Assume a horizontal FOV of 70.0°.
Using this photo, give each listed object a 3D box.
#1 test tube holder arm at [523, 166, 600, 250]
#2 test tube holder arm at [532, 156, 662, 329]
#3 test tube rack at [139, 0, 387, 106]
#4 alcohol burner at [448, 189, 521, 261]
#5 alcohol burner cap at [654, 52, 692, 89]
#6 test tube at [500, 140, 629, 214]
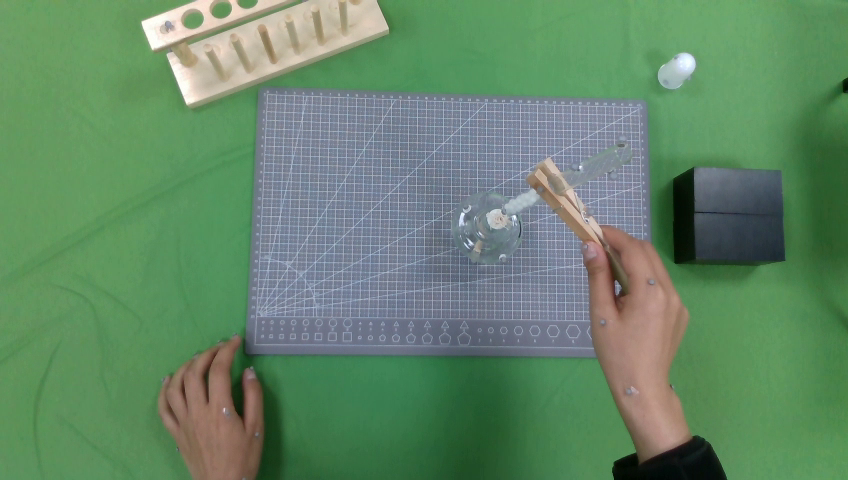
[{"bbox_3d":[0.113,-0.025,0.490,0.088,0.015,0.010,45,66,-14],"label":"test tube holder arm"},{"bbox_3d":[0.146,0.005,0.503,0.013,0.015,0.179,-45,103,-24],"label":"test tube holder arm"},{"bbox_3d":[-0.165,-0.233,0.657,0.242,0.085,0.066,-23,84,-6],"label":"test tube rack"},{"bbox_3d":[0.066,-0.018,0.628,0.078,0.119,0.077,1,83,-4],"label":"alcohol burner"},{"bbox_3d":[0.292,-0.199,0.704,0.034,0.048,0.033,0,82,-2],"label":"alcohol burner cap"},{"bbox_3d":[0.104,-0.046,0.480,0.017,0.150,0.017,6,75,-25],"label":"test tube"}]
